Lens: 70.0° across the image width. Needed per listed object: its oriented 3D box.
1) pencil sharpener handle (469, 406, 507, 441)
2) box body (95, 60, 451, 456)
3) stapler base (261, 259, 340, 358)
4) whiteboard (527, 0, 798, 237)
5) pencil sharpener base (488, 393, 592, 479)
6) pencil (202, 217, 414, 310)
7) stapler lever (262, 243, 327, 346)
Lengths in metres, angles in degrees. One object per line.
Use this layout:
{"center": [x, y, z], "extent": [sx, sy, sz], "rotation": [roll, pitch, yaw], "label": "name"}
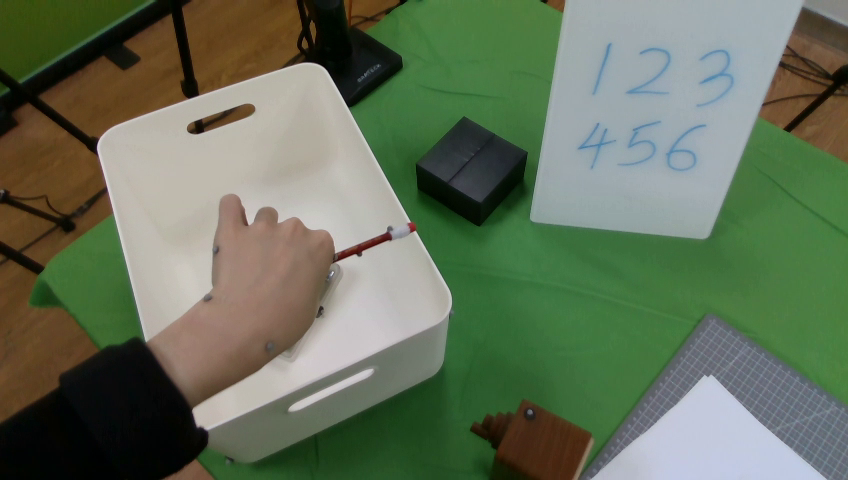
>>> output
{"center": [0.057, 0.168, 0.566], "extent": [0.030, 0.068, 0.036], "rotation": [25, 67, 17], "label": "pencil sharpener handle"}
{"center": [-0.157, 0.012, 0.648], "extent": [0.254, 0.162, 0.360], "rotation": [-24, 61, -12], "label": "box body"}
{"center": [-0.140, 0.068, 0.689], "extent": [0.041, 0.024, 0.130], "rotation": [18, 63, 14], "label": "stapler base"}
{"center": [0.249, -0.175, 0.702], "extent": [0.217, 0.308, 0.142], "rotation": [6, 40, 6], "label": "whiteboard"}
{"center": [0.102, 0.196, 0.563], "extent": [0.076, 0.108, 0.061], "rotation": [25, 63, 17], "label": "pencil sharpener base"}
{"center": [-0.081, 0.015, 0.470], "extent": [0.194, 0.012, 0.012], "rotation": [-24, 58, -38], "label": "pencil"}
{"center": [-0.141, 0.056, 0.666], "extent": [0.026, 0.040, 0.117], "rotation": [18, 64, 15], "label": "stapler lever"}
